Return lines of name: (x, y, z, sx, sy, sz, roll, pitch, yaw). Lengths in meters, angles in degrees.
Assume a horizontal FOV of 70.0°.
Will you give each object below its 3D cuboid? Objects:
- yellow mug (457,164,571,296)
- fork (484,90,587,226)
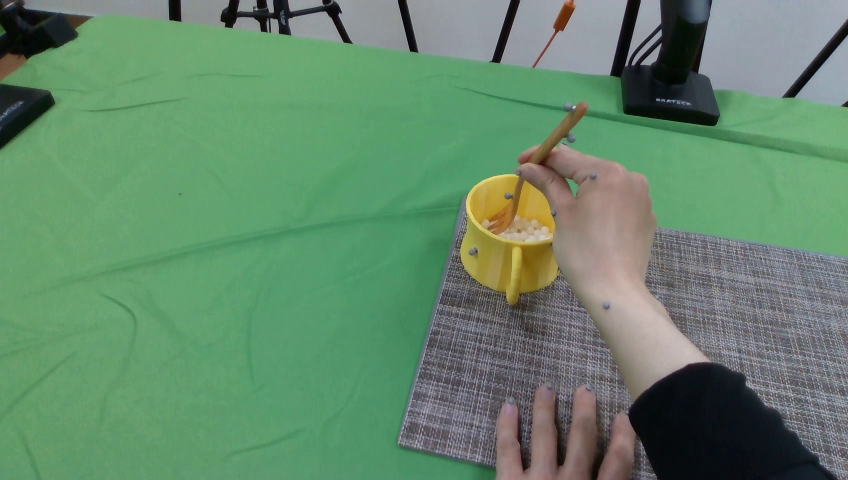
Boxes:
yellow mug: (0.081, -0.006, 0.561, 0.100, 0.064, 0.129, 5, 46, 2)
fork: (0.085, -0.060, 0.503, 0.018, 0.208, 0.028, 15, 65, -4)
